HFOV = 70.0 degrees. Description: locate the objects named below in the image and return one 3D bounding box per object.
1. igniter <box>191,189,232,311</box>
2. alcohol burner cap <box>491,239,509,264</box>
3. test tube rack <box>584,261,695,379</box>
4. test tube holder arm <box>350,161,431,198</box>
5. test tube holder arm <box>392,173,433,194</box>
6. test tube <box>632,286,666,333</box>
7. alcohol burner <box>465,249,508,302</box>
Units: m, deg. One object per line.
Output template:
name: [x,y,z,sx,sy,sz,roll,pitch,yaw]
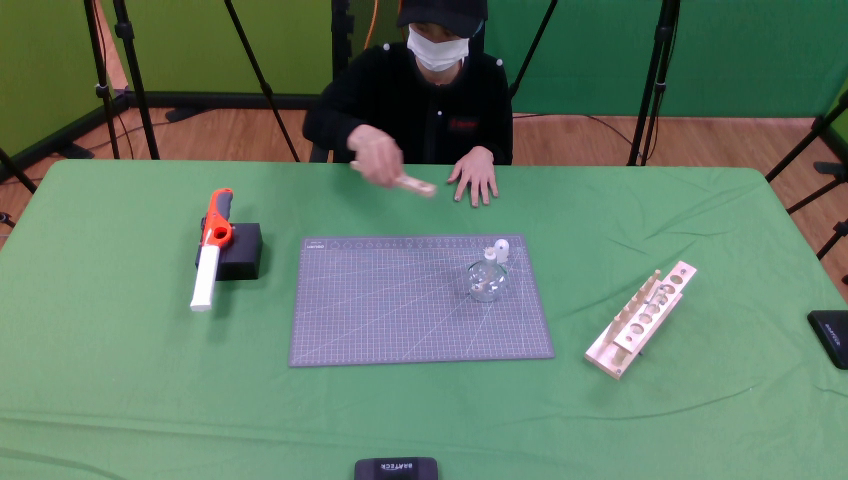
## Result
igniter: [-0.381,0.008,1.092,0.057,0.025,0.274,-1,50,-7]
alcohol burner cap: [0.150,0.020,1.174,0.034,0.048,0.033,2,46,-2]
test tube rack: [0.380,0.127,1.062,0.066,0.085,0.242,34,53,26]
test tube holder arm: [-0.061,-0.105,1.029,0.177,0.015,0.013,22,47,32]
test tube holder arm: [-0.022,-0.094,1.009,0.087,0.015,0.010,22,47,31]
test tube: [0.363,0.125,0.993,0.017,0.151,0.017,2,49,-2]
alcohol burner: [0.114,0.057,1.085,0.078,0.120,0.077,2,48,-2]
